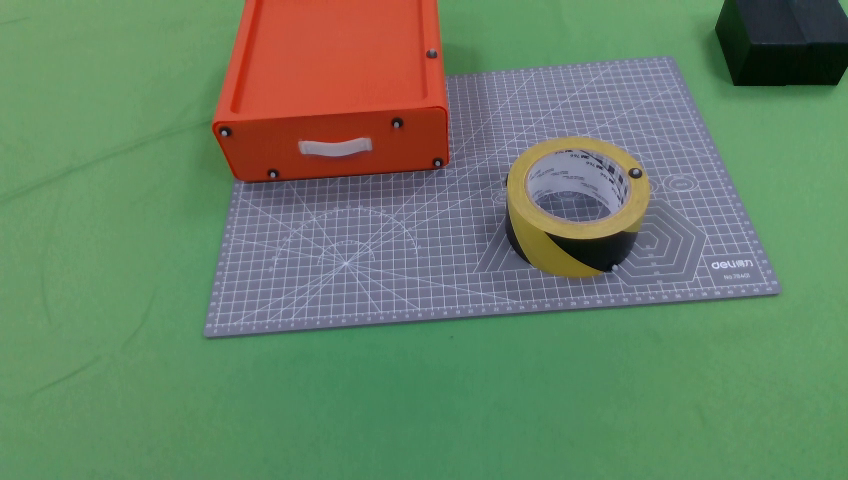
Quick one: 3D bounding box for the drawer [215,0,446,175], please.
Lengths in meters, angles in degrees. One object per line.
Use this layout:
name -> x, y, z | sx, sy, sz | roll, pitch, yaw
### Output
drawer -> -0.082, -0.166, 0.591 | 0.194, 0.074, 0.209 | -4, 53, 2

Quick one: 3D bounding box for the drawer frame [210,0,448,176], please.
drawer frame -> -0.083, -0.168, 0.592 | 0.202, 0.083, 0.211 | -5, 52, 1

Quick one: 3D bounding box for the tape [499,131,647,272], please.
tape -> 0.121, -0.032, 0.496 | 0.117, 0.053, 0.115 | -2, 53, 3
